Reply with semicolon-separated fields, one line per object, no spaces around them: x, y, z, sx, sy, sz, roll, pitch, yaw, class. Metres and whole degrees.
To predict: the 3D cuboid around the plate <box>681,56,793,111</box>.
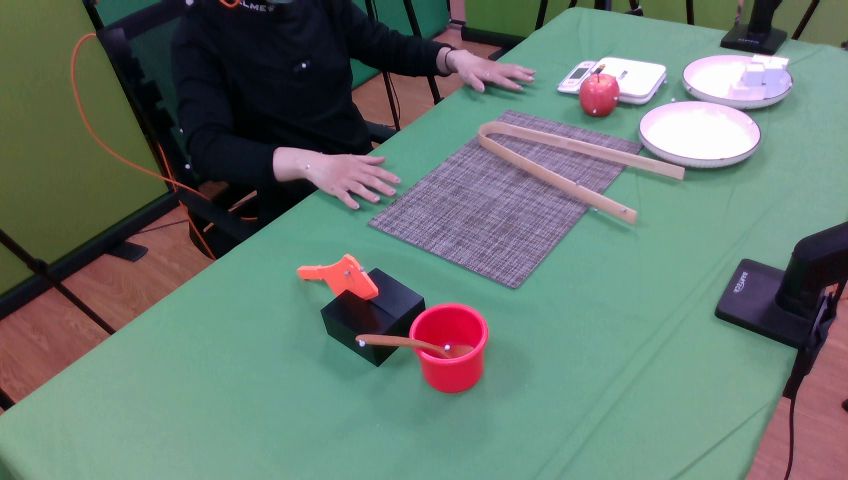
0.636;-0.317;1.239;0.207;0.039;0.206;-4;40;4;plate

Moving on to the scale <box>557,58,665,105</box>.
0.407;-0.348;1.314;0.199;0.032;0.149;19;47;28;scale

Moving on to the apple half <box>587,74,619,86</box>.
0.366;-0.310;1.242;0.081;0.081;0.033;15;49;24;apple half

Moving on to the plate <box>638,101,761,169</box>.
0.500;-0.189;1.111;0.209;0.038;0.208;-4;41;4;plate

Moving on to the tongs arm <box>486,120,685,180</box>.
0.287;-0.171;1.123;0.384;0.028;0.028;21;52;29;tongs arm

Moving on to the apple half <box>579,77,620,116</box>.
0.348;-0.285;1.218;0.080;0.075;0.053;17;49;22;apple half

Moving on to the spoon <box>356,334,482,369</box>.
-0.001;0.130;0.731;0.195;0.021;0.041;21;28;-39;spoon

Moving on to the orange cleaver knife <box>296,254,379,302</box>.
-0.129;0.058;0.874;0.012;0.077;0.210;-39;16;-30;orange cleaver knife

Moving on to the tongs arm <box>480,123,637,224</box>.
0.228;-0.128;1.080;0.051;0.026;0.381;-33;46;-26;tongs arm
